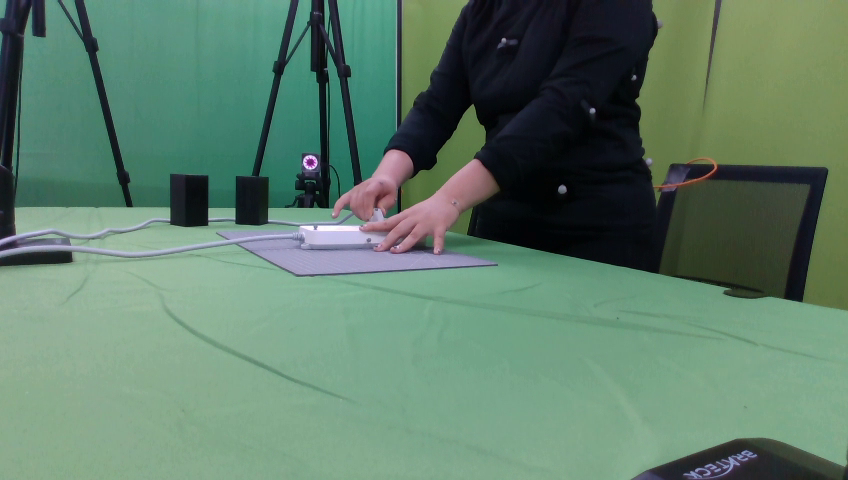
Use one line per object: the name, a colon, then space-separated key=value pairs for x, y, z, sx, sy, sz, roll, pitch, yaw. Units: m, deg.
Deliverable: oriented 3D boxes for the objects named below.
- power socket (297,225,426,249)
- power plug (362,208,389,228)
power socket: x=-0.100 y=-0.007 z=0.994 sx=0.228 sy=0.032 sz=0.072 roll=-2 pitch=8 yaw=-30
power plug: x=-0.083 y=-0.029 z=1.034 sx=0.035 sy=0.052 sz=0.072 roll=-3 pitch=5 yaw=-14
